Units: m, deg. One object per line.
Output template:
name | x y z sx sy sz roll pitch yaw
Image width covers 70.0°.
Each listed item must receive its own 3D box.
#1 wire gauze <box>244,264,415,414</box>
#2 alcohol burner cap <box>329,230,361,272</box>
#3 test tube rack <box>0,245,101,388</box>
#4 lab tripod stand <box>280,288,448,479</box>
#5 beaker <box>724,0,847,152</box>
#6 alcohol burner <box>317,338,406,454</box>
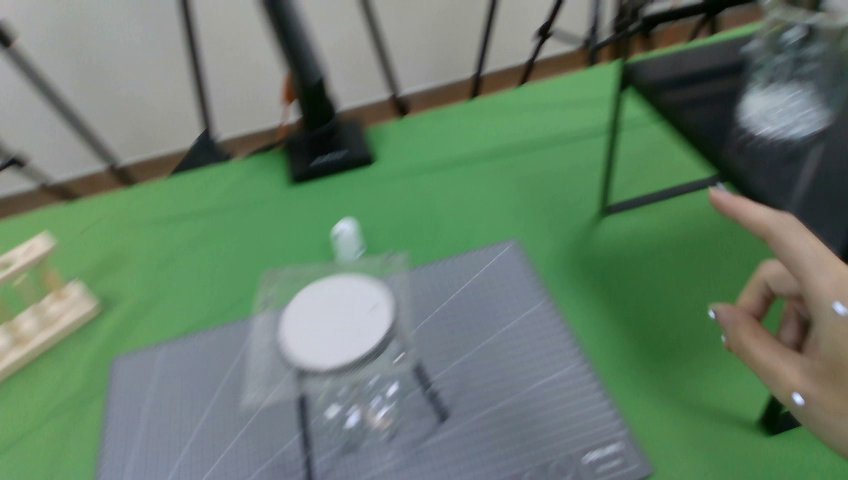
wire gauze | -0.071 0.066 0.458 0.121 0.011 0.123 -9 43 0
alcohol burner cap | -0.093 0.010 0.703 0.034 0.048 0.033 -5 42 5
test tube rack | -0.474 0.115 0.616 0.066 0.086 0.242 27 52 33
lab tripod stand | -0.059 0.119 0.499 0.148 0.133 0.147 -4 43 4
beaker | 0.280 -0.128 0.475 0.074 0.101 0.083 -30 45 -23
alcohol burner | -0.056 0.125 0.507 0.078 0.120 0.077 -6 40 5
